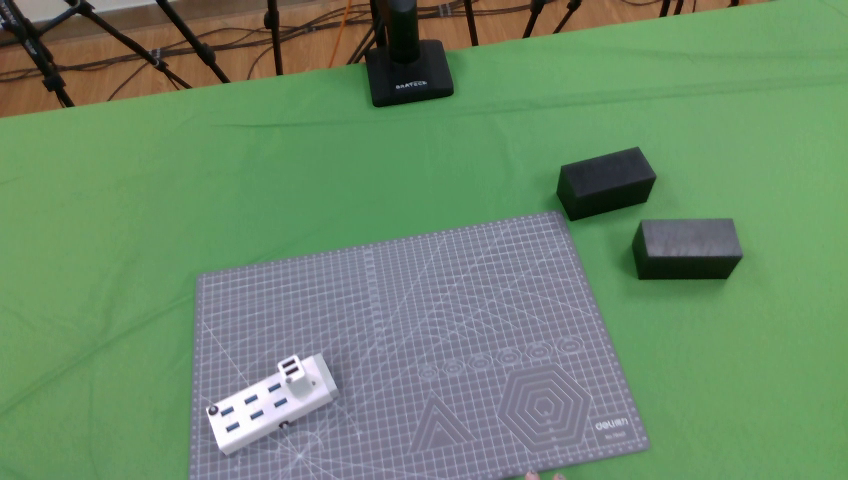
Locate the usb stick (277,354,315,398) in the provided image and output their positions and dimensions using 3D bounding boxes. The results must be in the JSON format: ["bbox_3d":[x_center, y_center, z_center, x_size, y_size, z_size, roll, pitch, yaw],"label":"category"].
[{"bbox_3d":[-0.126,0.139,0.605,0.021,0.060,0.027,-28,57,-13],"label":"usb stick"}]

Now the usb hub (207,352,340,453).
[{"bbox_3d":[-0.154,0.165,0.624,0.125,0.025,0.049,-25,58,-13],"label":"usb hub"}]
